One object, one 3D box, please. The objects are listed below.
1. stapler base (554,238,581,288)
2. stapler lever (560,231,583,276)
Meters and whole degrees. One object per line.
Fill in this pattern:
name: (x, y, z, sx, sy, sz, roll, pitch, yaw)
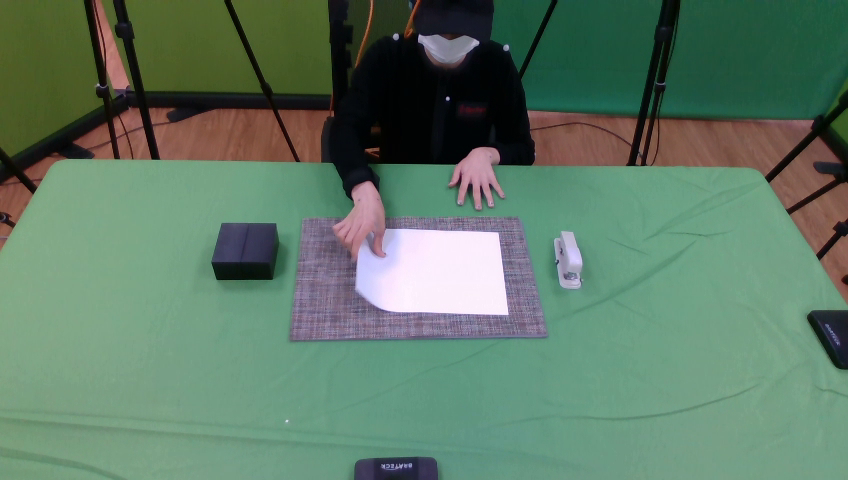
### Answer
stapler base: (0.282, 0.038, 1.181, 0.041, 0.024, 0.130, 5, 44, -2)
stapler lever: (0.282, 0.019, 1.165, 0.027, 0.040, 0.117, 5, 44, -1)
